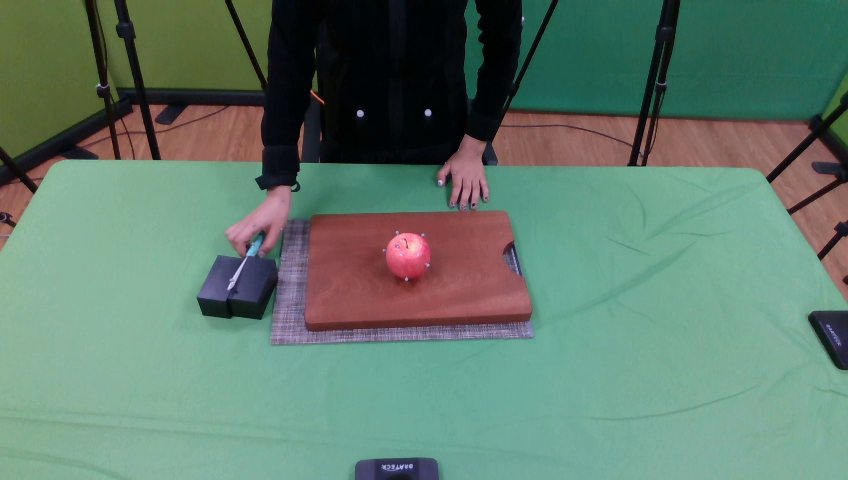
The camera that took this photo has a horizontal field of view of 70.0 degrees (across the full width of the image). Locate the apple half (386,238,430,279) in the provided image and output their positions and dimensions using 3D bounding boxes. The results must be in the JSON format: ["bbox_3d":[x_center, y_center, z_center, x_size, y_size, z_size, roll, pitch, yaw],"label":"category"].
[{"bbox_3d":[-0.032,0.039,1.084,0.081,0.075,0.053,11,50,1],"label":"apple half"}]

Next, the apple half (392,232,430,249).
[{"bbox_3d":[-0.025,0.010,1.110,0.081,0.081,0.032,8,51,4],"label":"apple half"}]

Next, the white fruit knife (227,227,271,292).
[{"bbox_3d":[-0.318,0.031,1.107,0.016,0.027,0.206,7,32,3],"label":"white fruit knife"}]
